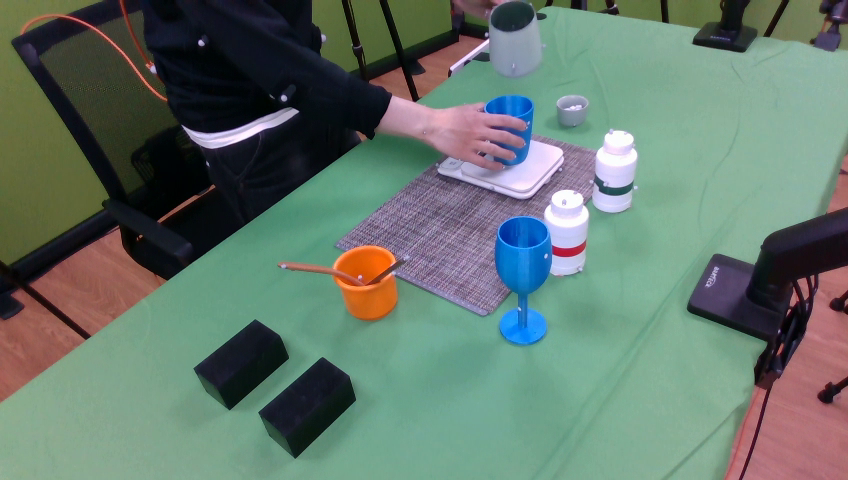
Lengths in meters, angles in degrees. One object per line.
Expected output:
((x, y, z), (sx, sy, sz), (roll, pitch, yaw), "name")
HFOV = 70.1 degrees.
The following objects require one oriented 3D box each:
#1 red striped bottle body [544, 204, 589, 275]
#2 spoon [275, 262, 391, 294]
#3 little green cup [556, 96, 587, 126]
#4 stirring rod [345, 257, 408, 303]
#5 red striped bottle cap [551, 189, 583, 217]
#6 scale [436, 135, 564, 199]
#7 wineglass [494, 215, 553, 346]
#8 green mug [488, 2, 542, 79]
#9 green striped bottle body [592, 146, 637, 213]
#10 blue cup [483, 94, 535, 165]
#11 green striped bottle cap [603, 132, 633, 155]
((0.206, -0.011, 0.877), (0.063, 0.120, 0.062), (-5, 41, 4), "red striped bottle body")
((-0.120, 0.050, 0.830), (0.041, 0.195, 0.021), (31, 97, 45), "spoon")
((0.295, -0.258, 1.215), (0.061, 0.039, 0.061), (-5, 41, 5), "little green cup")
((-0.067, 0.056, 0.814), (0.014, 0.175, 0.006), (-22, 81, -37), "stirring rod")
((0.199, -0.052, 0.843), (0.044, 0.018, 0.044), (-2, 42, 2), "red striped bottle cap")
((0.137, -0.142, 1.101), (0.199, 0.032, 0.149), (22, 48, 30), "scale")
((0.127, 0.055, 0.770), (0.074, 0.173, 0.073), (-4, 40, 4), "wineglass")
((0.154, -0.359, 1.061), (0.092, 0.105, 0.124), (-15, 59, 5), "green mug")
((0.307, -0.108, 0.976), (0.063, 0.120, 0.063), (-4, 40, 4), "green striped bottle body")
((0.149, -0.189, 1.054), (0.092, 0.100, 0.092), (-5, 40, 5), "blue cup")
((0.302, -0.150, 0.939), (0.044, 0.020, 0.044), (-3, 40, 3), "green striped bottle cap")
